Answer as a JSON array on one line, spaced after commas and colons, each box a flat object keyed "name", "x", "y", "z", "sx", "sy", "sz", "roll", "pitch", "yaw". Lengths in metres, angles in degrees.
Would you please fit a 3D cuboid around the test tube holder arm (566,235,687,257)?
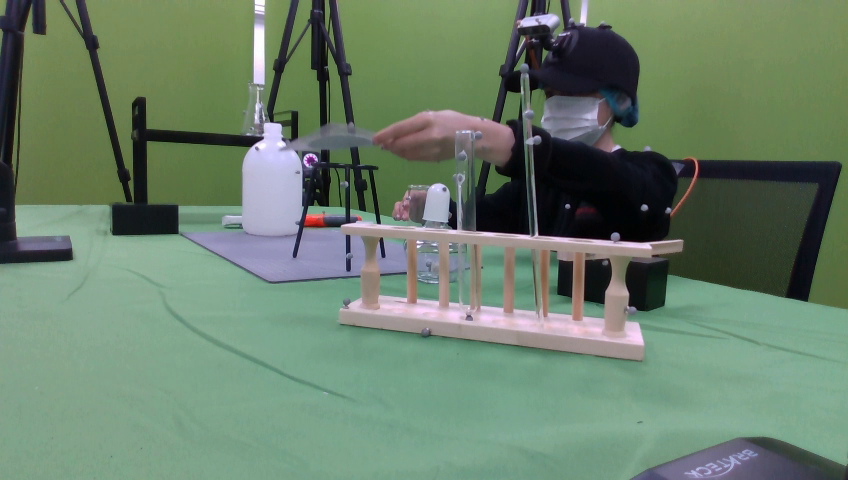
[{"name": "test tube holder arm", "x": 0.215, "y": 0.006, "z": 0.630, "sx": 0.179, "sy": 0.015, "sz": 0.013, "roll": -3, "pitch": 9, "yaw": -30}]

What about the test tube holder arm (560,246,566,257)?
[{"name": "test tube holder arm", "x": 0.173, "y": 0.007, "z": 0.611, "sx": 0.088, "sy": 0.015, "sz": 0.010, "roll": -3, "pitch": 9, "yaw": -30}]

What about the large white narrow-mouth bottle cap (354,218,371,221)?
[{"name": "large white narrow-mouth bottle cap", "x": -0.120, "y": -0.029, "z": 1.184, "sx": 0.038, "sy": 0.024, "sz": 0.037, "roll": 2, "pitch": 8, "yaw": 0}]

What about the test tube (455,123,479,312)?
[{"name": "test tube", "x": 0.034, "y": -0.016, "z": 0.476, "sx": 0.017, "sy": 0.150, "sz": 0.017, "roll": -2, "pitch": 10, "yaw": 1}]

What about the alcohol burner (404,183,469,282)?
[{"name": "alcohol burner", "x": 0.015, "y": -0.011, "z": 0.715, "sx": 0.078, "sy": 0.119, "sz": 0.078, "roll": 0, "pitch": 7, "yaw": 0}]

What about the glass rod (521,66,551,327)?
[{"name": "glass rod", "x": 0.085, "y": -0.028, "z": 0.454, "sx": 0.008, "sy": 0.199, "sz": 0.008, "roll": -7, "pitch": 10, "yaw": 1}]

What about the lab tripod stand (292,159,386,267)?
[{"name": "lab tripod stand", "x": -0.105, "y": -0.039, "z": 0.797, "sx": 0.148, "sy": 0.131, "sz": 0.148, "roll": 2, "pitch": 5, "yaw": 0}]

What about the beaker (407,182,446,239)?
[{"name": "beaker", "x": 0.008, "y": -0.054, "z": 1.103, "sx": 0.074, "sy": 0.100, "sz": 0.083, "roll": -5, "pitch": 11, "yaw": -43}]

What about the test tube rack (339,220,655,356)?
[{"name": "test tube rack", "x": 0.056, "y": 0.032, "z": 0.495, "sx": 0.242, "sy": 0.085, "sz": 0.067, "roll": 4, "pitch": 7, "yaw": 15}]

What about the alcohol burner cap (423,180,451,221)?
[{"name": "alcohol burner cap", "x": 0.018, "y": -0.047, "z": 0.711, "sx": 0.034, "sy": 0.048, "sz": 0.034, "roll": 9, "pitch": 6, "yaw": -1}]

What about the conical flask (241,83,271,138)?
[{"name": "conical flask", "x": -0.384, "y": -0.297, "z": 1.393, "sx": 0.075, "sy": 0.122, "sz": 0.075, "roll": 2, "pitch": 7, "yaw": 0}]

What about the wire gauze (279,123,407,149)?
[{"name": "wire gauze", "x": -0.108, "y": -0.134, "z": 0.795, "sx": 0.121, "sy": 0.011, "sz": 0.126, "roll": -6, "pitch": 0, "yaw": 45}]

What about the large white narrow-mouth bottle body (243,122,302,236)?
[{"name": "large white narrow-mouth bottle body", "x": -0.265, "y": -0.109, "z": 1.061, "sx": 0.102, "sy": 0.194, "sz": 0.102, "roll": 2, "pitch": 8, "yaw": 0}]

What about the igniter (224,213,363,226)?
[{"name": "igniter", "x": -0.254, "y": -0.041, "z": 1.210, "sx": 0.278, "sy": 0.025, "sz": 0.057, "roll": -2, "pitch": -2, "yaw": -31}]
